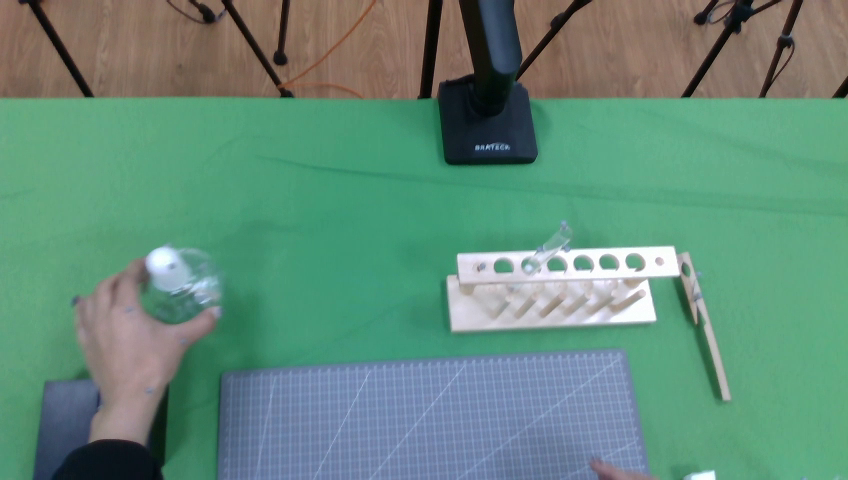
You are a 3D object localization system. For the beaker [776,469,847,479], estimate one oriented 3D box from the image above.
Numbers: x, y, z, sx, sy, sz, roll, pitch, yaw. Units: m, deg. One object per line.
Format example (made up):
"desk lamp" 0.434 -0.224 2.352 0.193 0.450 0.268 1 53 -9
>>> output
"beaker" 0.393 0.277 0.614 0.074 0.101 0.083 11 67 -2

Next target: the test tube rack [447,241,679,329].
"test tube rack" 0.153 0.051 0.679 0.243 0.085 0.066 -2 69 -8

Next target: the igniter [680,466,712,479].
"igniter" 0.313 0.373 0.607 0.057 0.025 0.274 -3 70 -18

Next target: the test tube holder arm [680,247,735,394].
"test tube holder arm" 0.335 0.093 0.719 0.013 0.015 0.177 -21 69 24

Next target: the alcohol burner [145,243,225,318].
"alcohol burner" -0.241 0.035 0.599 0.078 0.120 0.077 1 69 -3

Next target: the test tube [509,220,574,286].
"test tube" 0.119 0.018 0.634 0.017 0.151 0.017 5 65 -11

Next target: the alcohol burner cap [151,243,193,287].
"alcohol burner cap" -0.237 0.021 0.566 0.034 0.048 0.033 5 63 -9

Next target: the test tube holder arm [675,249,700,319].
"test tube holder arm" 0.322 0.053 0.736 0.010 0.015 0.087 -20 70 24
